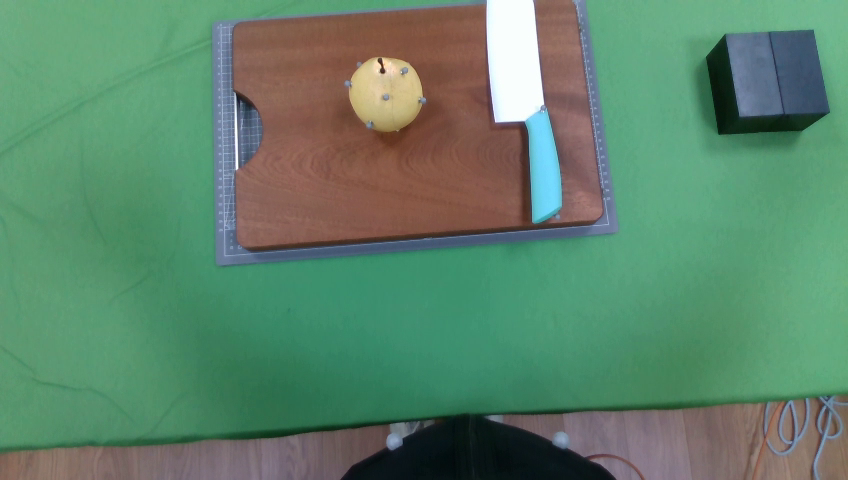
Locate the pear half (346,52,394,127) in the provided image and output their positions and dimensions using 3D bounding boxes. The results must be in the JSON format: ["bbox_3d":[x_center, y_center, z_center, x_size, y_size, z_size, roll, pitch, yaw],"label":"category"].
[{"bbox_3d":[-0.054,-0.163,0.628,0.056,0.110,0.076,-2,73,0],"label":"pear half"}]

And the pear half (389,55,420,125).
[{"bbox_3d":[-0.019,-0.160,0.638,0.031,0.088,0.070,-1,73,0],"label":"pear half"}]

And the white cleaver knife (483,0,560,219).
[{"bbox_3d":[0.106,-0.158,0.678,0.066,0.021,0.284,-5,74,4],"label":"white cleaver knife"}]
